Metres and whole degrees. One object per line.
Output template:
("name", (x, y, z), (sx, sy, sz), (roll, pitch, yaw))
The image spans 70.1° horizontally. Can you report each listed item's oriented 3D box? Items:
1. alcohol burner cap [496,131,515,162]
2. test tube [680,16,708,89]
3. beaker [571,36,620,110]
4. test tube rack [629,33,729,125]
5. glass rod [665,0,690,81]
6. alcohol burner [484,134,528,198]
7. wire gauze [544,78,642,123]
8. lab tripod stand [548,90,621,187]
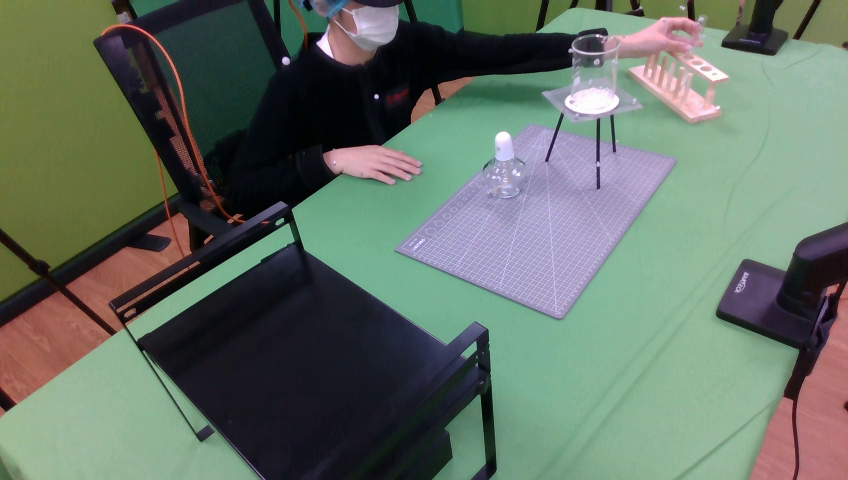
("alcohol burner cap", (0.135, -0.160, 1.019), (0.034, 0.048, 0.033), (-7, 38, 6))
("test tube", (0.534, -0.370, 1.204), (0.017, 0.151, 0.017), (1, 42, 0))
("beaker", (0.280, -0.272, 0.990), (0.073, 0.101, 0.084), (17, 46, 28))
("test tube rack", (0.516, -0.337, 1.247), (0.067, 0.085, 0.240), (-14, 41, -7))
("glass rod", (0.524, -0.422, 1.243), (0.008, 0.200, 0.008), (0, 40, 1))
("alcohol burner", (0.141, -0.133, 1.041), (0.078, 0.119, 0.077), (-5, 42, 5))
("wire gauze", (0.283, -0.234, 1.021), (0.125, 0.011, 0.120), (-17, 38, -4))
("lab tripod stand", (0.289, -0.184, 1.062), (0.148, 0.132, 0.147), (-6, 41, 6))
